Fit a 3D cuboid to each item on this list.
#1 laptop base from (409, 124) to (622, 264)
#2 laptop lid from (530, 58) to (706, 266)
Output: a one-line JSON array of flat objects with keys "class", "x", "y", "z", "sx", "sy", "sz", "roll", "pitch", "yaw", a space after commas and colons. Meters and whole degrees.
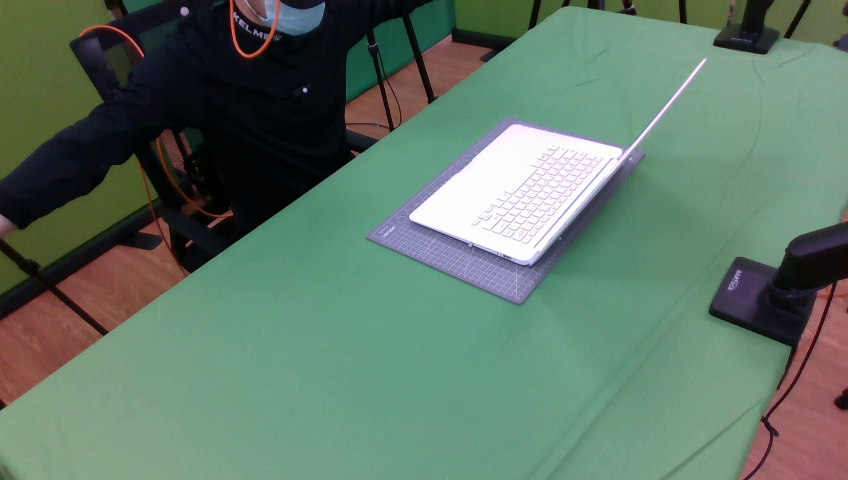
[{"class": "laptop base", "x": 0.168, "y": -0.095, "z": 1.057, "sx": 0.233, "sy": 0.023, "sz": 0.355, "roll": 20, "pitch": 47, "yaw": 32}, {"class": "laptop lid", "x": 0.293, "y": -0.118, "z": 0.905, "sx": 0.013, "sy": 0.241, "sz": 0.357, "roll": 40, "pitch": 53, "yaw": 9}]
